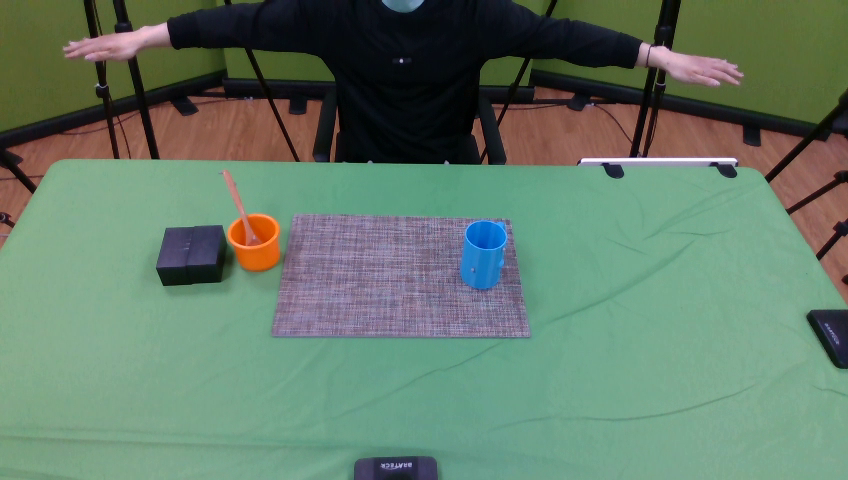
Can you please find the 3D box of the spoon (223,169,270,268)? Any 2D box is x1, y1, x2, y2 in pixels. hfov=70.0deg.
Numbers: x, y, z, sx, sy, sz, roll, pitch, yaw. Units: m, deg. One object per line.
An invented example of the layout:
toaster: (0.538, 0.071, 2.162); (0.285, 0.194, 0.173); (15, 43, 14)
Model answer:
spoon: (-0.333, -0.040, 1.124); (0.041, 0.194, 0.021); (-20, 7, -17)

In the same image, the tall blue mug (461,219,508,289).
tall blue mug: (0.111, 0.016, 1.122); (0.078, 0.108, 0.106); (6, 46, 4)
